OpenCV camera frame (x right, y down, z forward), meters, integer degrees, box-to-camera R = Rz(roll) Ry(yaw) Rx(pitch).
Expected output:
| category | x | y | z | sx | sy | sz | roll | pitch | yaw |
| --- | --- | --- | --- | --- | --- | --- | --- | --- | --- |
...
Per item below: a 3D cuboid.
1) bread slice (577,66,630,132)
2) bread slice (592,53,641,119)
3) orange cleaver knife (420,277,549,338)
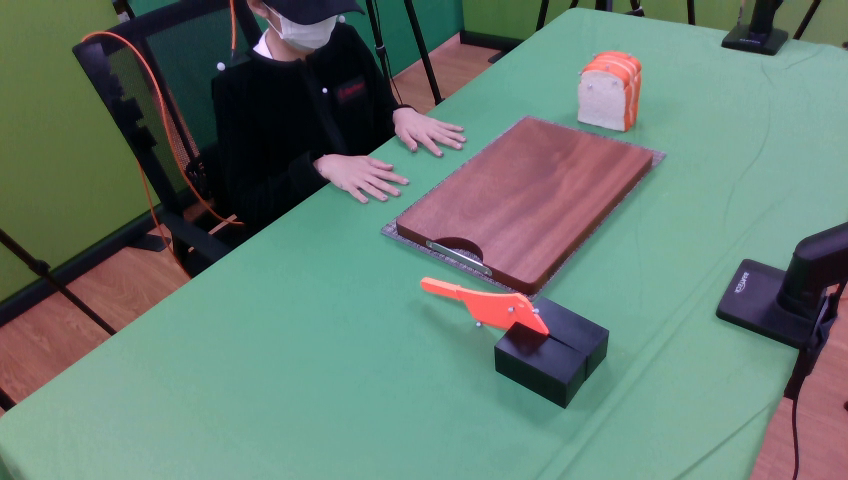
| category | x | y | z | sx | sy | sz | roll | pitch | yaw |
| --- | --- | --- | --- | --- | --- | --- | --- | --- | --- |
| bread slice | 0.341 | -0.271 | 1.159 | 0.104 | 0.132 | 0.019 | 22 | 56 | 31 |
| bread slice | 0.373 | -0.302 | 1.186 | 0.106 | 0.135 | 0.018 | 23 | 55 | 24 |
| orange cleaver knife | 0.076 | 0.089 | 0.813 | 0.209 | 0.077 | 0.012 | 9 | 43 | 47 |
